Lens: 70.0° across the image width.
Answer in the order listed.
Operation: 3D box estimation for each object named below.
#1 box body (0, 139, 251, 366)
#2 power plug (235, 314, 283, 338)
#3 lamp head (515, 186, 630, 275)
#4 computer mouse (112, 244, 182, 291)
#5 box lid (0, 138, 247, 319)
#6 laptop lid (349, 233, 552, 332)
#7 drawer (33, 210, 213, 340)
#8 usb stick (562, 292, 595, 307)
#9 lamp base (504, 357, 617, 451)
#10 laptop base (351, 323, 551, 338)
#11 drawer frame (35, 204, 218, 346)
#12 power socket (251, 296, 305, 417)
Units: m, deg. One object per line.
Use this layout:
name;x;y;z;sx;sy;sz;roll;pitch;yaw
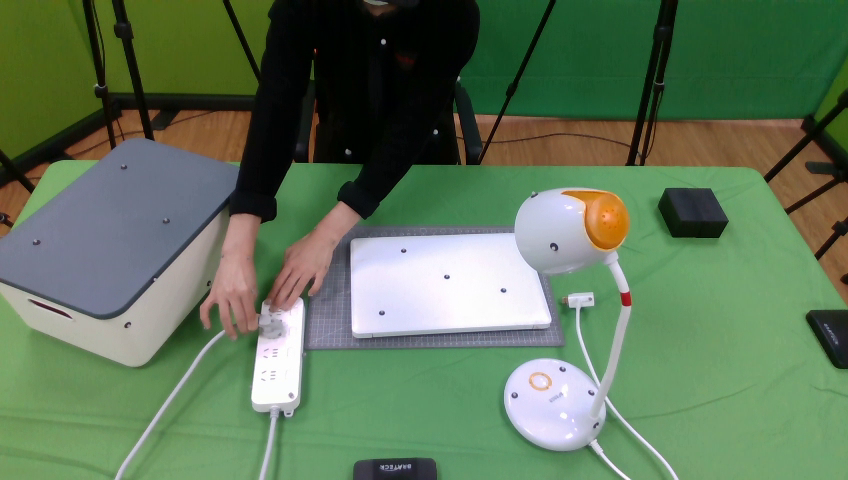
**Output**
box body;-0.496;0.013;1.048;0.254;0.161;0.362;17;47;12
power plug;-0.269;0.141;0.998;0.072;0.053;0.035;10;45;0
lamp head;0.188;-0.013;0.728;0.112;0.112;0.122;-25;9;-25
computer mouse;-0.492;0.046;1.078;0.117;0.041;0.062;24;41;13
box lid;-0.494;-0.037;0.994;0.263;0.015;0.370;17;46;12
laptop lid;0.040;0.070;1.119;0.357;0.013;0.240;-1;44;-5
drawer;-0.509;0.054;1.046;0.194;0.073;0.211;15;43;11
usb stick;0.280;0.109;1.105;0.059;0.021;0.027;-6;13;23
lamp base;0.220;0.211;0.902;0.160;0.181;0.178;-32;59;-30
laptop base;0.040;0.080;1.126;0.355;0.023;0.234;-2;43;-6
drawer frame;-0.505;0.054;1.052;0.201;0.083;0.212;14;52;12
power socket;-0.238;0.181;0.997;0.072;0.033;0.225;-2;47;-5
